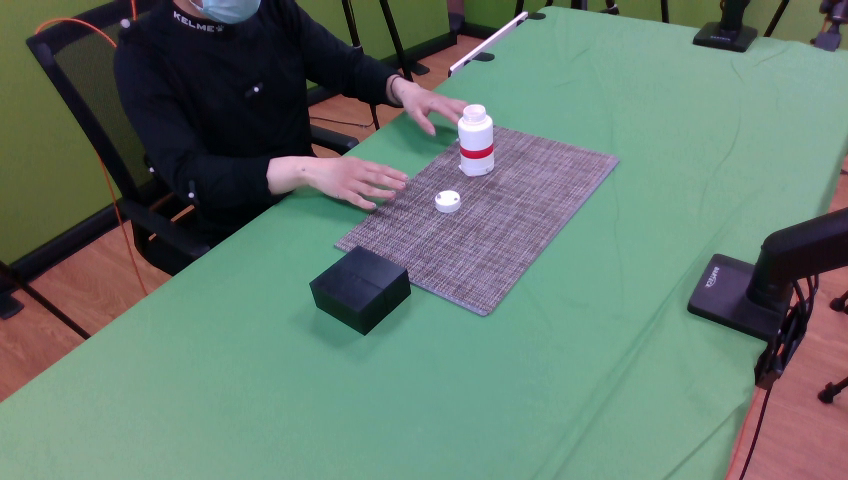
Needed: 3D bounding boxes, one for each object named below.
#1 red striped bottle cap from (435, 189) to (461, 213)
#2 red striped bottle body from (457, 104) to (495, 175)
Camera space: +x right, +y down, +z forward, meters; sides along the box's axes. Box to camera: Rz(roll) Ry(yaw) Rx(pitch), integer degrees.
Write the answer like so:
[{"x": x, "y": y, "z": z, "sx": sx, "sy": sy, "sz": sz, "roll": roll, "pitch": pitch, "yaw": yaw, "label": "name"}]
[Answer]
[{"x": 0.042, "y": -0.068, "z": 1.040, "sx": 0.044, "sy": 0.018, "sz": 0.044, "roll": -5, "pitch": 46, "yaw": 6, "label": "red striped bottle cap"}, {"x": 0.093, "y": -0.182, "z": 1.085, "sx": 0.063, "sy": 0.120, "sz": 0.062, "roll": -4, "pitch": 41, "yaw": 4, "label": "red striped bottle body"}]
